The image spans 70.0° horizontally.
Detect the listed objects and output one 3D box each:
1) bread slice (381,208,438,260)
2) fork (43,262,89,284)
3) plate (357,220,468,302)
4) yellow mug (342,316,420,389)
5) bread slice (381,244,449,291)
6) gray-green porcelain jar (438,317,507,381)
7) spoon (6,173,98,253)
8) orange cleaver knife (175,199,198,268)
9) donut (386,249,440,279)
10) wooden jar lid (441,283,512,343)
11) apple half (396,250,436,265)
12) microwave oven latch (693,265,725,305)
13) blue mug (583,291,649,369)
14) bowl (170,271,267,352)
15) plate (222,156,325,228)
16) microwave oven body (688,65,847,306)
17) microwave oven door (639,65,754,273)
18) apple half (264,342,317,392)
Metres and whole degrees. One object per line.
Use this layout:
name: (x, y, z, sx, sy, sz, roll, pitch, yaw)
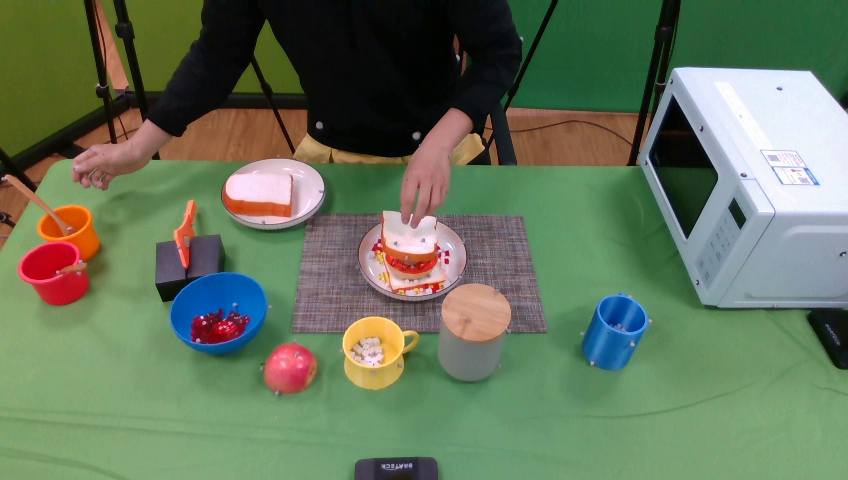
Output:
bread slice: (-0.024, -0.011, 1.064, 0.105, 0.019, 0.130, 7, 36, -7)
fork: (-0.599, 0.053, 1.013, 0.207, 0.019, 0.028, -14, 30, 45)
plate: (-0.022, 0.037, 1.141, 0.208, 0.039, 0.206, 2, 46, -2)
yellow mug: (-0.067, 0.178, 0.990, 0.131, 0.064, 0.099, -16, 50, -19)
bread slice: (-0.026, 0.039, 1.139, 0.107, 0.018, 0.133, -12, 47, -16)
gray-green porcelain jar: (0.076, 0.158, 0.977, 0.106, 0.127, 0.105, 2, 46, -2)
spoon: (-0.678, -0.050, 1.106, 0.021, 0.194, 0.041, -19, 27, 43)
orange cleaver knife: (-0.438, -0.017, 1.138, 0.012, 0.077, 0.210, -14, 27, -7)
donut: (-0.021, 0.029, 1.110, 0.099, 0.048, 0.098, 2, 46, -2)
wooden jar lid: (0.080, 0.114, 0.931, 0.108, 0.021, 0.107, 1, 49, -1)
apple half: (-0.017, 0.005, 1.084, 0.081, 0.033, 0.081, 5, 49, -6)
microwave oven latch: (0.522, 0.081, 1.115, 0.030, 0.029, 0.078, 2, 46, -1)
blue mug: (0.324, 0.142, 1.023, 0.082, 0.106, 0.116, 15, 47, 11)
bowl: (-0.333, 0.132, 1.006, 0.151, 0.077, 0.150, 2, 46, -2)
plate: (-0.308, -0.095, 1.251, 0.209, 0.038, 0.208, 3, 46, -3)
microwave oven body: (0.669, -0.111, 1.176, 0.326, 0.261, 0.439, 0, 46, -3)
microwave oven door: (0.522, -0.147, 1.192, 0.039, 0.245, 0.353, 0, 47, -3)
apple half: (-0.214, 0.198, 0.970, 0.074, 0.053, 0.080, 19, 48, 11)
